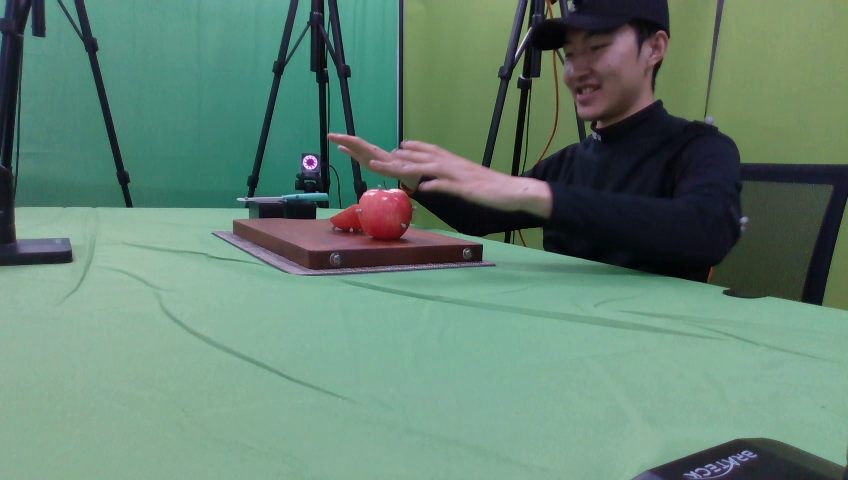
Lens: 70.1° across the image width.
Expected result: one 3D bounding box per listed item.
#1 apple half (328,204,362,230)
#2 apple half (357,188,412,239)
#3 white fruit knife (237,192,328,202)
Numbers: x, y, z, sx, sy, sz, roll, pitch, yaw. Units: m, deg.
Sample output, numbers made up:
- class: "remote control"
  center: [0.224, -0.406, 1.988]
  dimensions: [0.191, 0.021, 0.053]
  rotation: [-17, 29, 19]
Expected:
- class: "apple half"
  center: [-0.107, -0.034, 0.954]
  dimensions: [0.081, 0.033, 0.081]
  rotation: [-19, -5, -1]
- class: "apple half"
  center: [-0.050, -0.037, 0.873]
  dimensions: [0.081, 0.074, 0.053]
  rotation: [1, 11, -39]
- class: "white fruit knife"
  center: [-0.294, -0.088, 1.279]
  dimensions: [0.208, 0.016, 0.027]
  rotation: [-6, -12, -36]
